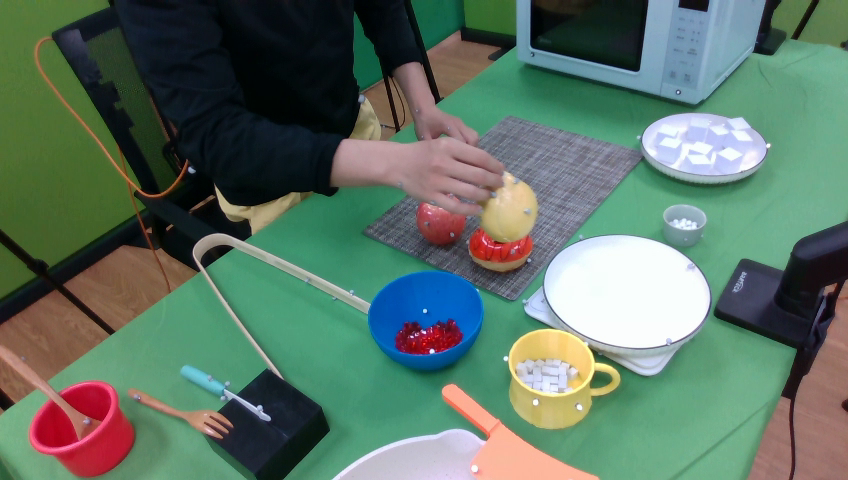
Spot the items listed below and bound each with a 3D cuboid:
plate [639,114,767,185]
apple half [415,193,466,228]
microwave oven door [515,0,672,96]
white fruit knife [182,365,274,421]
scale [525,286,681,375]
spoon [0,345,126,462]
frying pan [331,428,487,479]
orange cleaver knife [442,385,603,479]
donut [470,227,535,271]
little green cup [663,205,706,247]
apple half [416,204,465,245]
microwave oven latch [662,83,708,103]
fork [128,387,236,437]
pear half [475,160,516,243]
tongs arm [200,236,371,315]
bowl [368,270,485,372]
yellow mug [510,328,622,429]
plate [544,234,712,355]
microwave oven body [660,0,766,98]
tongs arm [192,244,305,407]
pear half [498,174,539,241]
[{"bbox_3d":[0.489,-0.157,1.074,0.207,0.039,0.206,-4,40,4],"label":"plate"},{"bbox_3d":[0.028,-0.042,0.974,0.081,0.075,0.053,-5,37,8],"label":"apple half"},{"bbox_3d":[0.343,-0.454,1.258,0.353,0.245,0.039,26,51,33],"label":"microwave oven door"},{"bbox_3d":[-0.245,0.188,0.747,0.205,0.027,0.016,9,41,41],"label":"white fruit knife"},{"bbox_3d":[0.254,0.091,0.821,0.199,0.032,0.149,27,51,35],"label":"scale"},{"bbox_3d":[-0.434,0.192,0.720,0.194,0.021,0.042,47,53,-7],"label":"spoon"},{"bbox_3d":[-0.089,0.306,0.564,0.487,0.103,0.306,10,41,7],"label":"frying pan"},{"bbox_3d":[0.086,0.219,0.612,0.209,0.012,0.077,28,49,35],"label":"orange cleaver knife"},{"bbox_3d":[0.119,0.009,0.923,0.099,0.048,0.098,-4,38,4],"label":"donut"},{"bbox_3d":[0.396,-0.020,0.926,0.061,0.039,0.061,-4,40,4],"label":"little green cup"},{"bbox_3d":[0.027,-0.018,0.943,0.081,0.081,0.032,-4,37,5],"label":"apple half"},{"bbox_3d":[0.517,-0.296,1.204,0.078,0.029,0.030,28,52,35],"label":"microwave oven latch"},{"bbox_3d":[-0.305,0.207,0.744,0.206,0.019,0.028,3,41,36],"label":"fork"},{"bbox_3d":[0.089,-0.054,0.745,0.055,0.110,0.076,12,42,32],"label":"pear half"},{"bbox_3d":[-0.209,0.062,0.924,0.381,0.027,0.051,23,56,32],"label":"tongs arm"},{"bbox_3d":[0.007,0.119,0.791,0.151,0.077,0.150,-5,39,4],"label":"bowl"},{"bbox_3d":[0.168,0.164,0.721,0.131,0.064,0.099,0,40,7],"label":"yellow mug"},{"bbox_3d":[0.262,0.072,0.792,0.209,0.038,0.208,-4,41,4],"label":"plate"},{"bbox_3d":[0.472,-0.513,1.317,0.438,0.261,0.327,26,51,34],"label":"microwave oven body"},{"bbox_3d":[-0.267,0.113,0.886,0.028,0.028,0.384,-37,48,-16],"label":"tongs arm"},{"bbox_3d":[0.119,-0.039,0.732,0.031,0.088,0.070,10,43,32],"label":"pear half"}]
